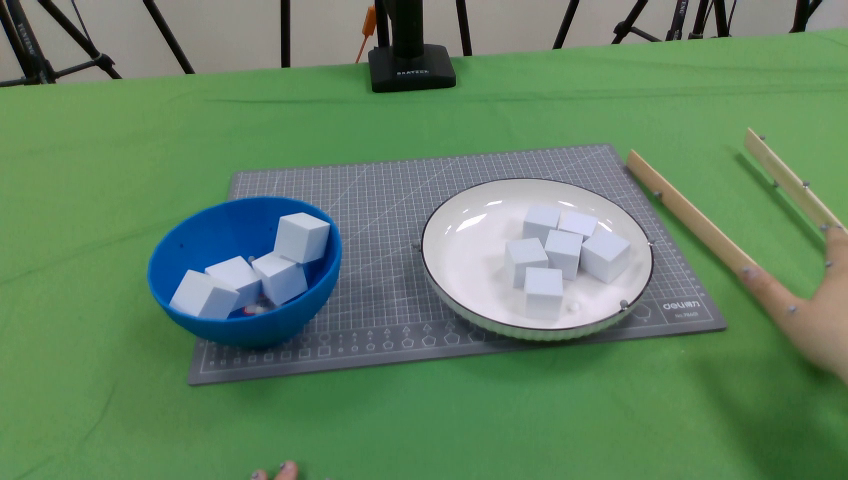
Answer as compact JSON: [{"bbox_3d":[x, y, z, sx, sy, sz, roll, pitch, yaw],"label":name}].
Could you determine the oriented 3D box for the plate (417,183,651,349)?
[{"bbox_3d":[0.098,0.022,0.557,0.208,0.039,0.205,0,41,1],"label":"plate"}]

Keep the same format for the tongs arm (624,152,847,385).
[{"bbox_3d":[0.300,0.025,0.560,0.028,0.028,0.383,-12,42,-16],"label":"tongs arm"}]

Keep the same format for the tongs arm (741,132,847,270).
[{"bbox_3d":[0.377,0.011,0.569,0.051,0.027,0.380,-6,42,-4],"label":"tongs arm"}]

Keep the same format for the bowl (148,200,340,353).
[{"bbox_3d":[-0.141,0.041,0.508,0.151,0.077,0.150,0,40,1],"label":"bowl"}]
